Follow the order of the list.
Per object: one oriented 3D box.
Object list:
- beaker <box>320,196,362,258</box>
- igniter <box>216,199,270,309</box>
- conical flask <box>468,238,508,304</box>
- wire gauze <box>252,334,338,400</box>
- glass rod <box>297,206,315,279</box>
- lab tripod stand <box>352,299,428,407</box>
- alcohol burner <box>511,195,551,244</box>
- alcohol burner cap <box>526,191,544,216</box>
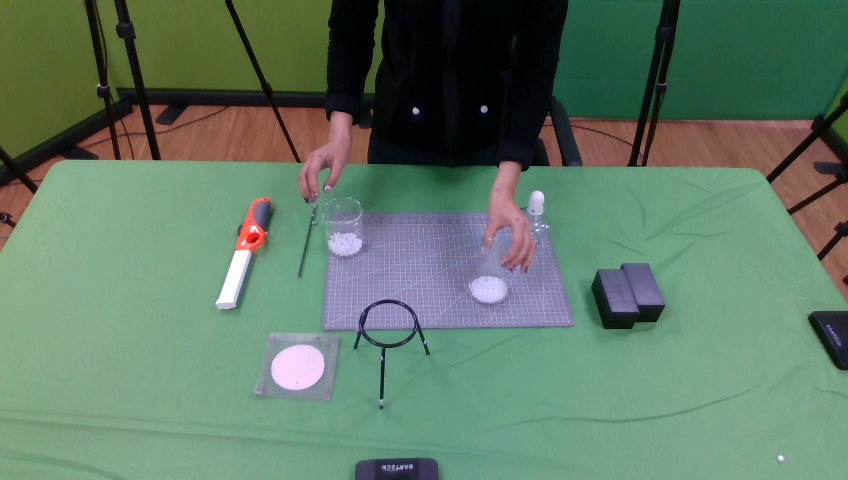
[{"bbox_3d":[-0.156,-0.020,1.150,0.084,0.101,0.073,-30,54,-28],"label":"beaker"},{"bbox_3d":[-0.342,0.016,1.153,0.057,0.025,0.275,-3,45,7],"label":"igniter"},{"bbox_3d":[0.120,0.053,1.084,0.075,0.122,0.075,2,45,-1],"label":"conical flask"},{"bbox_3d":[-0.209,0.204,0.996,0.125,0.011,0.120,3,45,1],"label":"wire gauze"},{"bbox_3d":[-0.231,0.000,1.191,0.008,0.008,0.198,2,46,-1],"label":"glass rod"},{"bbox_3d":[-0.055,0.166,0.958,0.148,0.132,0.147,3,44,-2],"label":"lab tripod stand"},{"bbox_3d":[0.215,-0.048,1.196,0.078,0.119,0.077,4,46,-4],"label":"alcohol burner"},{"bbox_3d":[0.216,-0.073,1.170,0.034,0.048,0.033,0,42,0],"label":"alcohol burner cap"}]
